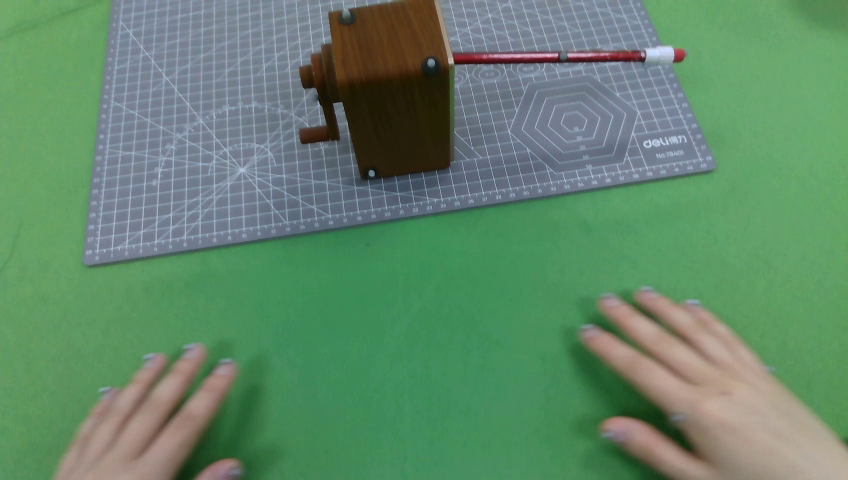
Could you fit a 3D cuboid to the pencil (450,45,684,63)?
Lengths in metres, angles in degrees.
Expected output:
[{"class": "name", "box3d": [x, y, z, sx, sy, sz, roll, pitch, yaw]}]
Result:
[{"class": "pencil", "box3d": [0.078, -0.121, 0.393, 0.194, 0.012, 0.012, -3, 62, -9]}]

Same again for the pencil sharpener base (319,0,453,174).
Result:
[{"class": "pencil sharpener base", "box3d": [-0.023, -0.099, 0.405, 0.077, 0.108, 0.061, -9, 63, -3]}]

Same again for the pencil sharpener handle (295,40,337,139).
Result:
[{"class": "pencil sharpener handle", "box3d": [-0.074, -0.093, 0.389, 0.031, 0.068, 0.035, -9, 49, -3]}]
